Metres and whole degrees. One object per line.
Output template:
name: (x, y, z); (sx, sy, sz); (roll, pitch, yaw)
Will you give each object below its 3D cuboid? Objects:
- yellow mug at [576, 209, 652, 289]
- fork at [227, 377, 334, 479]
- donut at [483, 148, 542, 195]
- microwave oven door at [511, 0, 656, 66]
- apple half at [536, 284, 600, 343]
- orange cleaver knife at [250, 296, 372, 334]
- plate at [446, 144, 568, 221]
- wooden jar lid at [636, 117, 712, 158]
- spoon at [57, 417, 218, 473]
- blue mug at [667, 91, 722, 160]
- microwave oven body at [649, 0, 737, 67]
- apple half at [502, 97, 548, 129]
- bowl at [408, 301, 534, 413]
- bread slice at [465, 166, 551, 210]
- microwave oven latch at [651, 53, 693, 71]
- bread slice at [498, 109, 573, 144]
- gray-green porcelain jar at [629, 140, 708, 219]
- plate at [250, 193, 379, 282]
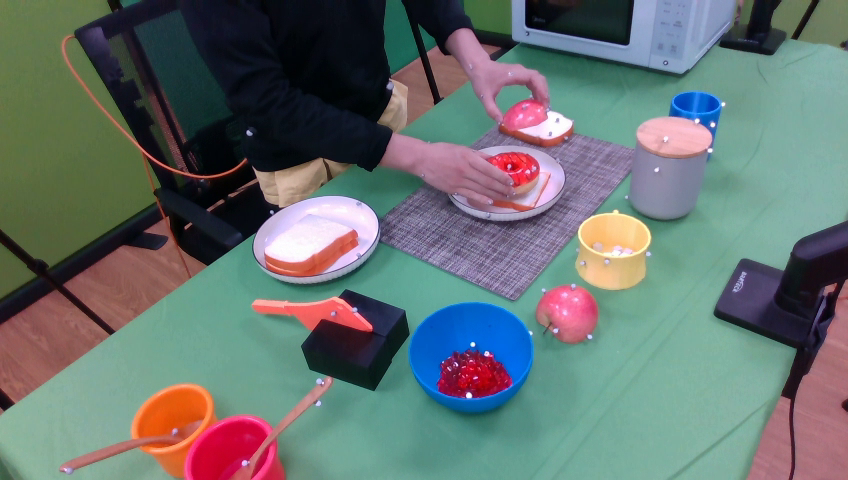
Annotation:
yellow mug: (0.279, 0.004, 0.893); (0.099, 0.064, 0.130); (5, 42, 14)
fork: (-0.163, 0.216, 0.647); (0.207, 0.019, 0.028); (-49, 41, 16)
donut: (0.145, -0.114, 0.995); (0.099, 0.048, 0.098); (-5, 46, 6)
microwave oven door: (0.351, -0.539, 1.348); (0.353, 0.245, 0.039); (24, 50, 31)
apple half: (0.196, 0.091, 0.815); (0.075, 0.053, 0.080); (-22, 42, -20)
orange cleaver knife: (-0.159, 0.103, 0.828); (0.210, 0.078, 0.012); (-4, 43, 39)
plate: (0.142, -0.096, 1.045); (0.207, 0.039, 0.206); (-4, 40, 4)
wooden jar lid: (0.377, -0.151, 0.917); (0.108, 0.021, 0.108); (-2, 41, 3)
spoon: (-0.304, 0.221, 0.661); (0.041, 0.195, 0.021); (19, 92, 27)
blue mug: (0.474, -0.207, 1.079); (0.082, 0.106, 0.116); (4, 42, 13)
microwave oven body: (0.475, -0.602, 1.411); (0.438, 0.261, 0.327); (23, 50, 32)
apple half: (0.164, -0.215, 0.998); (0.081, 0.033, 0.081); (-12, 35, 9)
bowl: (0.059, 0.156, 0.739); (0.151, 0.077, 0.150); (-4, 40, 4)
bread slice: (0.140, -0.094, 1.042); (0.133, 0.018, 0.107); (10, 42, 22)
microwave oven latch: (0.532, -0.386, 1.301); (0.078, 0.029, 0.030); (27, 52, 34)
bread slice: (0.231, -0.232, 1.205); (0.105, 0.019, 0.130); (-36, 47, -29)
gray-green porcelain jar: (0.383, -0.105, 0.958); (0.106, 0.127, 0.105); (-4, 41, 4)
plate: (-0.174, -0.001, 0.984); (0.209, 0.038, 0.208); (-4, 40, 4)
